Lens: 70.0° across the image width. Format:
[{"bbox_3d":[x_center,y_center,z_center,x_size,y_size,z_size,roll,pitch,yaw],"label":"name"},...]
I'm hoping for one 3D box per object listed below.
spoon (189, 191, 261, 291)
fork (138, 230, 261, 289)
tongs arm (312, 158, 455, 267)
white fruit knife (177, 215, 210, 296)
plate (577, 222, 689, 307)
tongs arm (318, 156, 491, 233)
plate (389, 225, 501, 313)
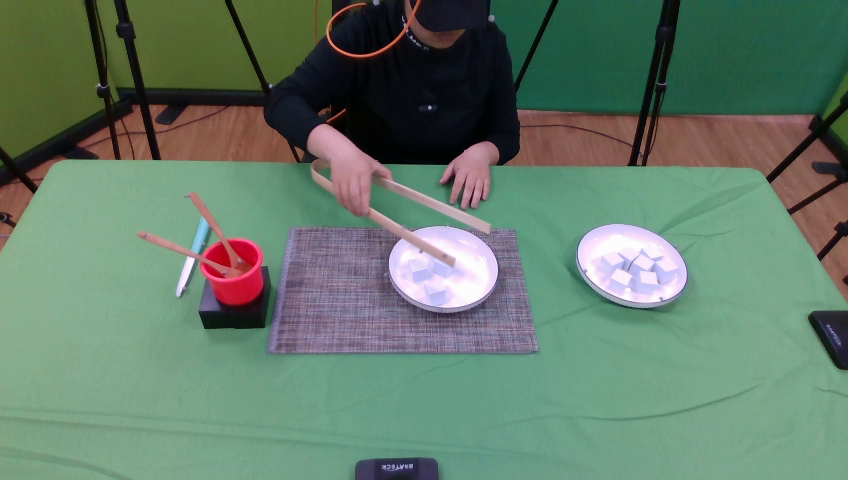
[{"bbox_3d":[-0.333,0.001,1.012,0.041,0.194,0.021,-34,15,-25],"label":"spoon"},{"bbox_3d":[-0.359,0.032,0.981,0.208,0.018,0.028,31,60,-30],"label":"fork"},{"bbox_3d":[-0.083,-0.059,1.139,0.383,0.026,0.050,30,52,26],"label":"tongs arm"},{"bbox_3d":[-0.435,0.025,1.148,0.027,0.016,0.206,-18,45,19],"label":"white fruit knife"},{"bbox_3d":[0.396,0.050,1.165,0.209,0.038,0.208,2,47,-2],"label":"plate"},{"bbox_3d":[-0.044,-0.093,1.176,0.386,0.028,0.028,24,53,21],"label":"tongs arm"},{"bbox_3d":[0.038,0.057,1.129,0.208,0.039,0.206,2,46,-2],"label":"plate"}]
